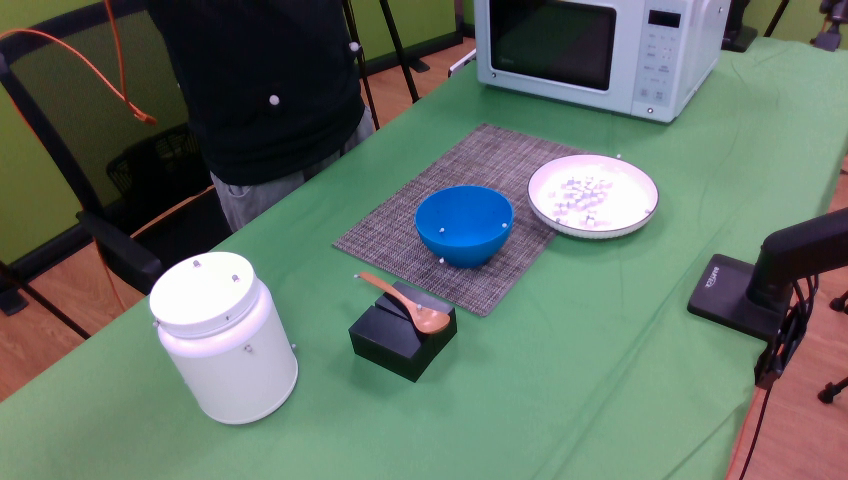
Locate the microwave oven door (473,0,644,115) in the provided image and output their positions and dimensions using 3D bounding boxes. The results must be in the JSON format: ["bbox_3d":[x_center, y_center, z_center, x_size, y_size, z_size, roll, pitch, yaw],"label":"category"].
[{"bbox_3d":[0.257,-0.396,1.199,0.353,0.245,0.039,21,48,29],"label":"microwave oven door"}]

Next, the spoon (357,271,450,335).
[{"bbox_3d":[-0.034,0.078,0.812,0.042,0.022,0.192,-35,43,-23],"label":"spoon"}]

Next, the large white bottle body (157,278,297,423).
[{"bbox_3d":[-0.239,0.120,0.736,0.130,0.185,0.130,-4,41,4],"label":"large white bottle body"}]

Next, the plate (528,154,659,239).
[{"bbox_3d":[0.274,-0.069,0.993,0.209,0.038,0.208,-2,42,2],"label":"plate"}]

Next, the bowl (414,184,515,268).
[{"bbox_3d":[0.063,-0.010,0.923,0.151,0.077,0.150,-4,40,4],"label":"bowl"}]

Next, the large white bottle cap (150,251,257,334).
[{"bbox_3d":[-0.247,0.056,0.680,0.115,0.018,0.114,-4,41,4],"label":"large white bottle cap"}]

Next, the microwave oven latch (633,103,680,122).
[{"bbox_3d":[0.443,-0.249,1.157,0.078,0.029,0.030,20,48,30],"label":"microwave oven latch"}]

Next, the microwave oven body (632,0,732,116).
[{"bbox_3d":[0.377,-0.462,1.267,0.438,0.261,0.327,21,48,30],"label":"microwave oven body"}]
